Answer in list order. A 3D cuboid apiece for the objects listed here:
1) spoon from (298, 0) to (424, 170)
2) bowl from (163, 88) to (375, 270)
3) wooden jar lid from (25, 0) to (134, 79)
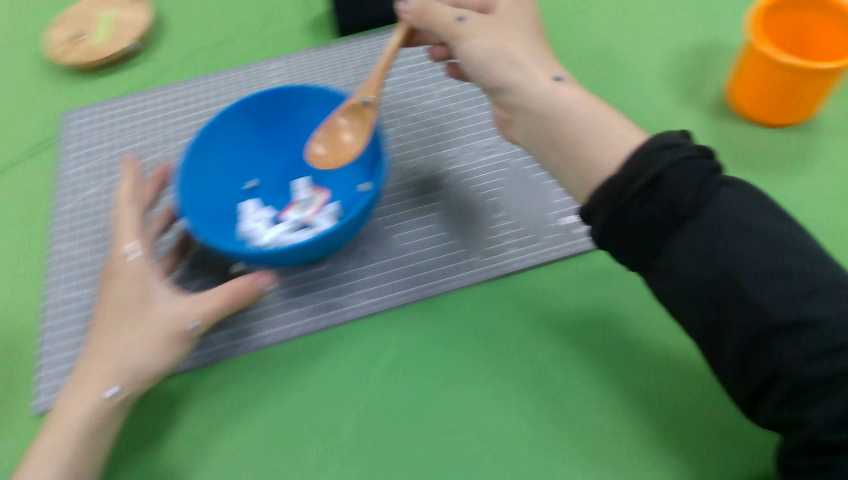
[{"bbox_3d":[-0.026,-0.130,0.413,0.041,0.022,0.194,34,94,28],"label":"spoon"},{"bbox_3d":[-0.106,-0.033,0.459,0.151,0.077,0.150,-2,58,4],"label":"bowl"},{"bbox_3d":[-0.352,-0.206,0.625,0.108,0.021,0.107,-1,58,2],"label":"wooden jar lid"}]
